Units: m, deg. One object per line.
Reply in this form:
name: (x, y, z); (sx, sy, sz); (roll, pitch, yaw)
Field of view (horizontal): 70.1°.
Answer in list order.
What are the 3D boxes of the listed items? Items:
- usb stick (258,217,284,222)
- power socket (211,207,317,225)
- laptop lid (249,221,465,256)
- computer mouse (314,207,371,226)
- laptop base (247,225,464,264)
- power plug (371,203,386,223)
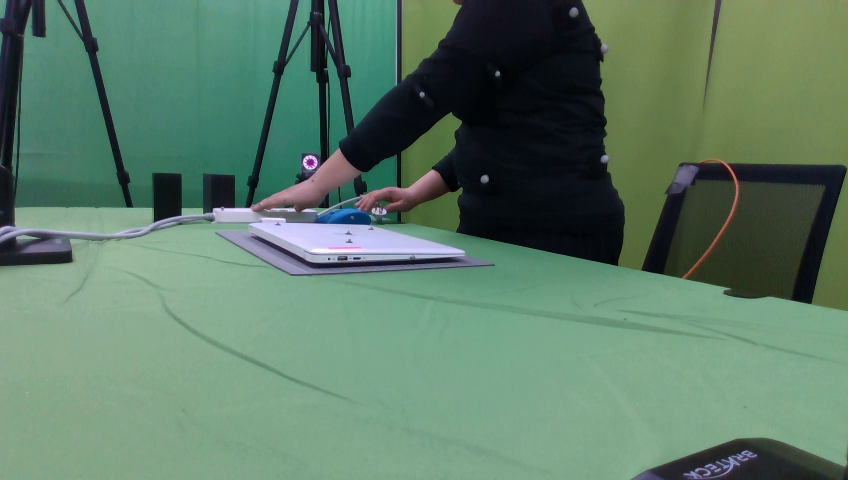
usb stick: (-0.290, -0.028, 1.118); (0.059, 0.027, 0.021); (-3, 12, -29)
power socket: (-0.335, -0.052, 1.281); (0.228, 0.032, 0.072); (-2, 11, -28)
laptop lid: (-0.121, -0.005, 0.955); (0.243, 0.013, 0.355); (1, 7, -28)
computer mouse: (-0.175, -0.047, 1.292); (0.118, 0.041, 0.062); (-8, 15, -33)
laptop base: (-0.124, 0.006, 0.955); (0.237, 0.023, 0.352); (2, 6, -30)
power plug: (-0.111, -0.071, 1.404); (0.035, 0.052, 0.072); (-2, 32, -22)
